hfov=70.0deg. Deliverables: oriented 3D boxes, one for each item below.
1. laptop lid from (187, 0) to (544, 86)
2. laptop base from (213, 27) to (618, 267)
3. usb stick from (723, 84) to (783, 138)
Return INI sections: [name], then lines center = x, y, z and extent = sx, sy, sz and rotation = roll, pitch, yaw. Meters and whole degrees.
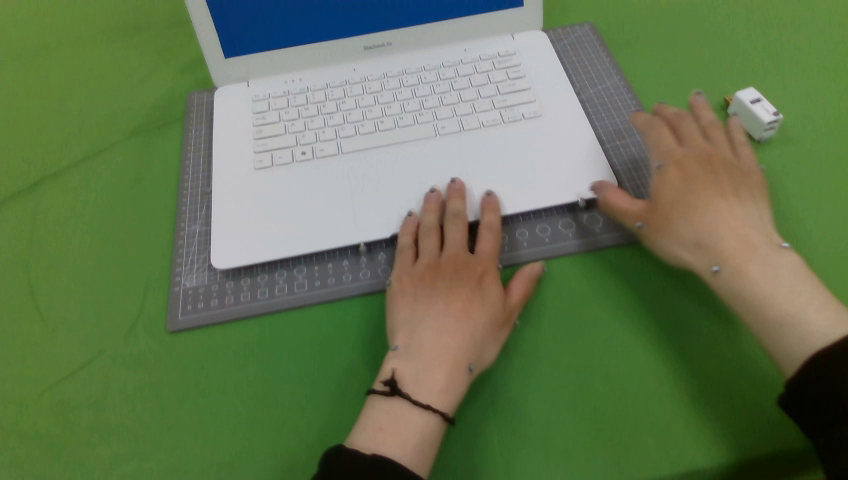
[laptop lid]
center = -0.060, -0.285, 0.579
extent = 0.357, 0.244, 0.013
rotation = -12, 36, -2
[laptop base]
center = -0.023, -0.099, 0.580
extent = 0.354, 0.023, 0.233
rotation = -11, 57, -3
[usb stick]
center = 0.303, -0.124, 0.563
extent = 0.021, 0.027, 0.058
rotation = -20, 52, -7
